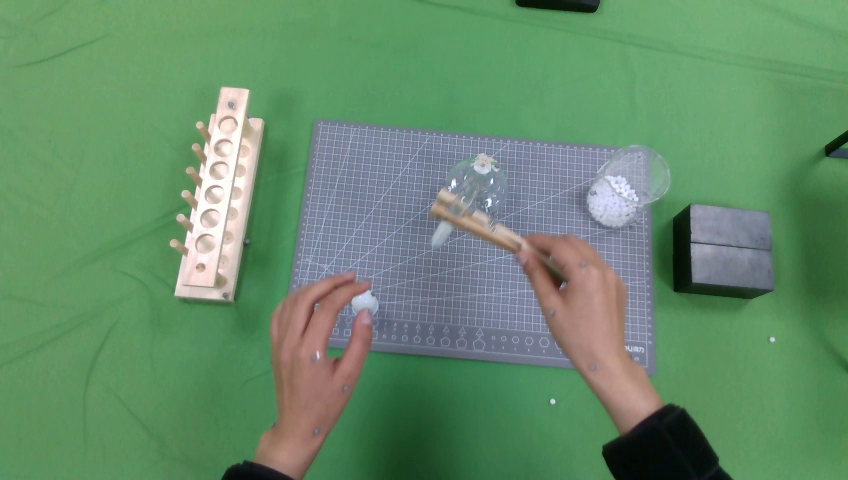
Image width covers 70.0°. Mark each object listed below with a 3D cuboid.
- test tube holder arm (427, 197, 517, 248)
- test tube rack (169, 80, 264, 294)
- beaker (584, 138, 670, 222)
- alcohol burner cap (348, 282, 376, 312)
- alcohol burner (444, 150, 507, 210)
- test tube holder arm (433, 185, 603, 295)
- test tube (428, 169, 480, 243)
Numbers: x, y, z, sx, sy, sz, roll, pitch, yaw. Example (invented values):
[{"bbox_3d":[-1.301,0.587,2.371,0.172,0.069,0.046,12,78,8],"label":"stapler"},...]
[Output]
[{"bbox_3d":[0.044,-0.015,0.551,0.088,0.015,0.010,23,70,-4],"label":"test tube holder arm"},{"bbox_3d":[-0.252,-0.063,0.724,0.067,0.085,0.241,5,74,-1],"label":"test tube rack"},{"bbox_3d":[0.241,-0.069,0.743,0.084,0.101,0.073,4,73,0],"label":"beaker"},{"bbox_3d":[-0.074,0.065,0.717,0.034,0.048,0.033,1,74,-3],"label":"alcohol burner cap"},{"bbox_3d":[0.064,-0.079,0.728,0.078,0.119,0.077,0,74,-1],"label":"alcohol burner"},{"bbox_3d":[0.086,0.001,0.555,0.178,0.015,0.013,30,71,-2],"label":"test tube holder arm"},{"bbox_3d":[0.024,-0.027,0.558,0.017,0.151,0.017,4,70,-10],"label":"test tube"}]
